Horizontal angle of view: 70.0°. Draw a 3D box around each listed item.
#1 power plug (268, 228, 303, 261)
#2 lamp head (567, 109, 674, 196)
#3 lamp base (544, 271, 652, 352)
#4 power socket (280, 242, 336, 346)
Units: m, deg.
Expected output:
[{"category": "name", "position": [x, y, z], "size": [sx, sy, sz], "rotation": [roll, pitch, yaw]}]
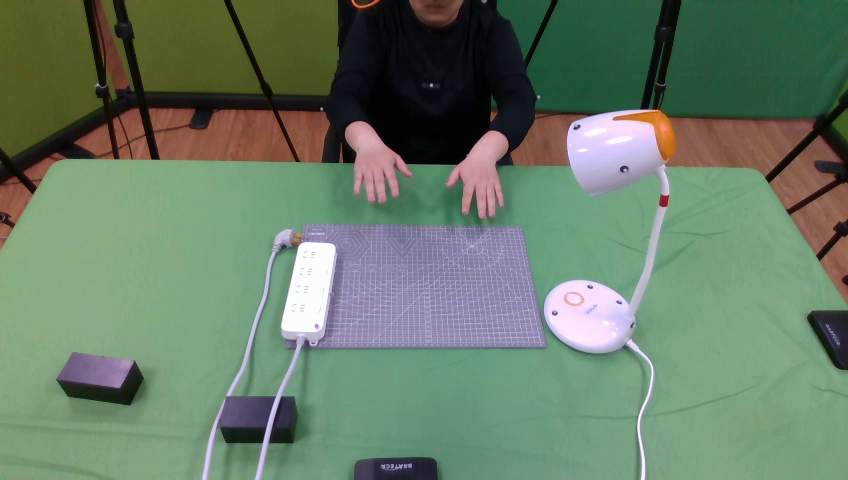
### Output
[{"category": "power plug", "position": [-0.265, 0.012, 1.172], "size": [0.052, 0.035, 0.072], "rotation": [10, 81, 9]}, {"category": "lamp head", "position": [0.272, -0.123, 0.818], "size": [0.122, 0.113, 0.112], "rotation": [-9, 35, 37]}, {"category": "lamp base", "position": [0.309, 0.086, 1.029], "size": [0.178, 0.181, 0.160], "rotation": [32, 52, 21]}, {"category": "power socket", "position": [-0.206, 0.087, 1.086], "size": [0.072, 0.033, 0.225], "rotation": [3, 46, -1]}]
